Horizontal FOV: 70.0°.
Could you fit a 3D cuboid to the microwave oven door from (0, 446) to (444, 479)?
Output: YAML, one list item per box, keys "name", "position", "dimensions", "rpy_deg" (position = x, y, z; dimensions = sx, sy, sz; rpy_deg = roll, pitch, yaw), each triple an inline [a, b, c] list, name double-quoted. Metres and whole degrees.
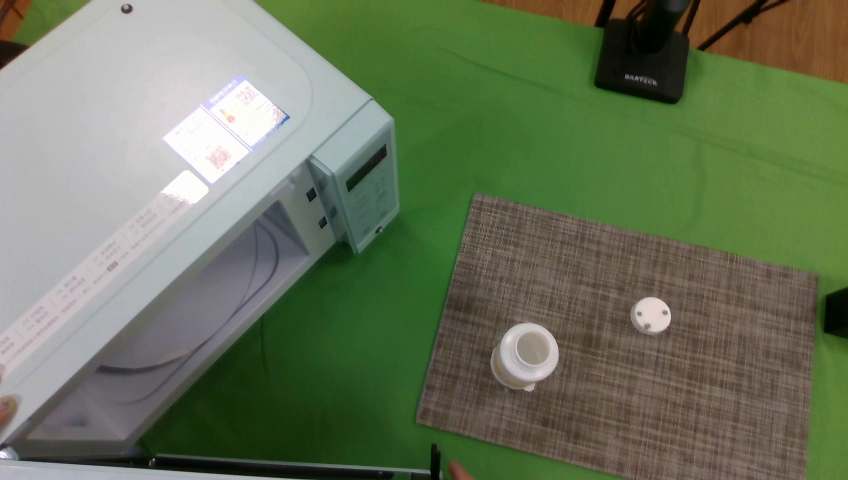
- name: "microwave oven door"
  position: [-0.154, 0.220, 0.557]
  dimensions: [0.356, 0.245, 0.039]
  rpy_deg: [3, 72, 0]

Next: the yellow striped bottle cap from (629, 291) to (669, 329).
- name: "yellow striped bottle cap"
  position: [0.276, 0.085, 0.742]
  dimensions: [0.044, 0.019, 0.044]
  rpy_deg: [0, 72, 0]

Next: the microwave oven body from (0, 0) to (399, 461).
- name: "microwave oven body"
  position: [-0.291, -0.031, 0.638]
  dimensions: [0.325, 0.261, 0.441]
  rpy_deg: [41, 77, 10]

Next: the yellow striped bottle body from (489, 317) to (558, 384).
- name: "yellow striped bottle body"
  position: [0.110, 0.123, 0.670]
  dimensions: [0.063, 0.121, 0.062]
  rpy_deg: [0, 72, -1]

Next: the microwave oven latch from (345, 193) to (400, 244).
- name: "microwave oven latch"
  position: [-0.063, -0.033, 0.745]
  dimensions: [0.030, 0.029, 0.079]
  rpy_deg: [42, 77, 11]
